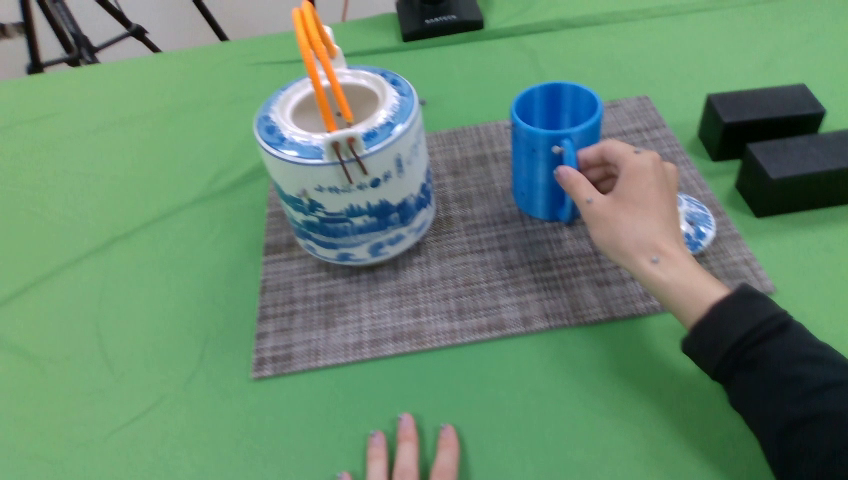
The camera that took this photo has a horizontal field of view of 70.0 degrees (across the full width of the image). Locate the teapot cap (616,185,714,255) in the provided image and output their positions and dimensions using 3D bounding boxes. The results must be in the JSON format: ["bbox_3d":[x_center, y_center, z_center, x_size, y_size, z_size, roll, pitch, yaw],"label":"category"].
[{"bbox_3d":[0.219,-0.024,0.551,0.085,0.044,0.084,-3,46,4],"label":"teapot cap"}]

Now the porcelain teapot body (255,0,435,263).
[{"bbox_3d":[-0.079,-0.114,0.557,0.145,0.227,0.203,-15,46,-4],"label":"porcelain teapot body"}]

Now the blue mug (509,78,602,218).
[{"bbox_3d":[0.126,-0.076,0.571,0.082,0.107,0.115,-8,46,2],"label":"blue mug"}]
